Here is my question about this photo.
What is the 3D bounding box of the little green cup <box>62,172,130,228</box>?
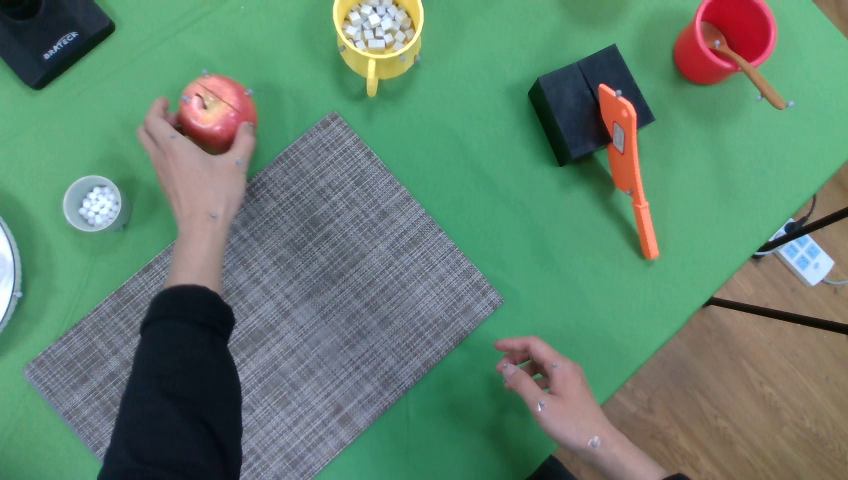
[{"bbox_3d":[-0.359,-0.041,0.668,0.061,0.038,0.061,0,85,-4],"label":"little green cup"}]

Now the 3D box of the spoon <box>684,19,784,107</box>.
[{"bbox_3d":[0.347,-0.204,0.683,0.041,0.022,0.191,-7,41,-4],"label":"spoon"}]

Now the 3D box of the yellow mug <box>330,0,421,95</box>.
[{"bbox_3d":[-0.056,-0.232,0.693,0.100,0.064,0.130,7,86,-4],"label":"yellow mug"}]

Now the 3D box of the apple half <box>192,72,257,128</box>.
[{"bbox_3d":[-0.209,-0.157,0.661,0.081,0.081,0.033,35,81,0],"label":"apple half"}]

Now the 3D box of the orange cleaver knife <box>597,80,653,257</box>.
[{"bbox_3d":[0.230,-0.079,0.695,0.012,0.076,0.213,-22,117,-3],"label":"orange cleaver knife"}]

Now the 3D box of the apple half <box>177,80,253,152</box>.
[{"bbox_3d":[-0.231,-0.125,0.654,0.081,0.075,0.053,36,81,2],"label":"apple half"}]

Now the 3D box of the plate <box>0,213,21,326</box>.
[{"bbox_3d":[-0.537,0.036,0.648,0.208,0.039,0.207,0,85,-4],"label":"plate"}]
